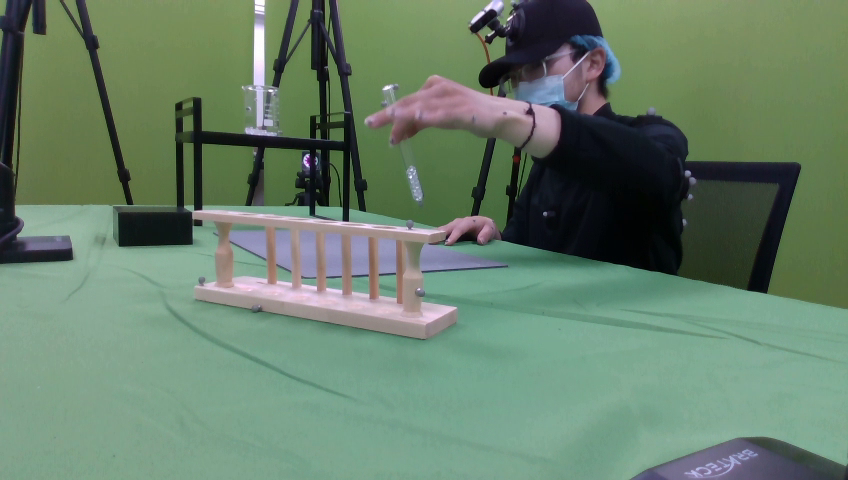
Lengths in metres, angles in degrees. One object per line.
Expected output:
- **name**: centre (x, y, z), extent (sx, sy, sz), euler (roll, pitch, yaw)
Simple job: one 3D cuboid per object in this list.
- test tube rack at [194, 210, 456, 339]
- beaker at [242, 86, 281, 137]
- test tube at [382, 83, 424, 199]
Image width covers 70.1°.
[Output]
- **test tube rack**: centre (-0.093, 0.023, 0.545), extent (0.241, 0.085, 0.067), euler (6, 8, 25)
- **beaker**: centre (-0.338, -0.265, 1.252), extent (0.073, 0.100, 0.084), euler (8, 9, 38)
- **test tube**: centre (-0.026, -0.124, 0.767), extent (0.017, 0.150, 0.017), euler (-15, 11, 3)
